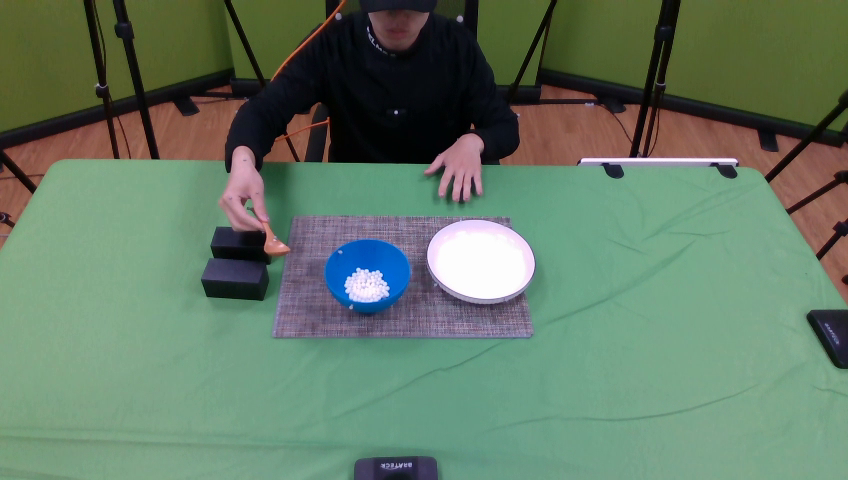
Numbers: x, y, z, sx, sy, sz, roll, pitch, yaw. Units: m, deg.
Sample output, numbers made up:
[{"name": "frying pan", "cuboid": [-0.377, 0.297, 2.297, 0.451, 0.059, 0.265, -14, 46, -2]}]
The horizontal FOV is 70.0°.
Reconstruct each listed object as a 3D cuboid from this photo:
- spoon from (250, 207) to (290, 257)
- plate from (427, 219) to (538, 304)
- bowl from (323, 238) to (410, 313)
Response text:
[{"name": "spoon", "cuboid": [-0.277, -0.018, 1.064, 0.041, 0.022, 0.192, -20, 38, -19]}, {"name": "plate", "cuboid": [0.109, 0.044, 1.149, 0.208, 0.039, 0.206, 2, 46, -2]}, {"name": "bowl", "cuboid": [-0.101, 0.077, 1.073, 0.151, 0.077, 0.150, 2, 46, -2]}]
